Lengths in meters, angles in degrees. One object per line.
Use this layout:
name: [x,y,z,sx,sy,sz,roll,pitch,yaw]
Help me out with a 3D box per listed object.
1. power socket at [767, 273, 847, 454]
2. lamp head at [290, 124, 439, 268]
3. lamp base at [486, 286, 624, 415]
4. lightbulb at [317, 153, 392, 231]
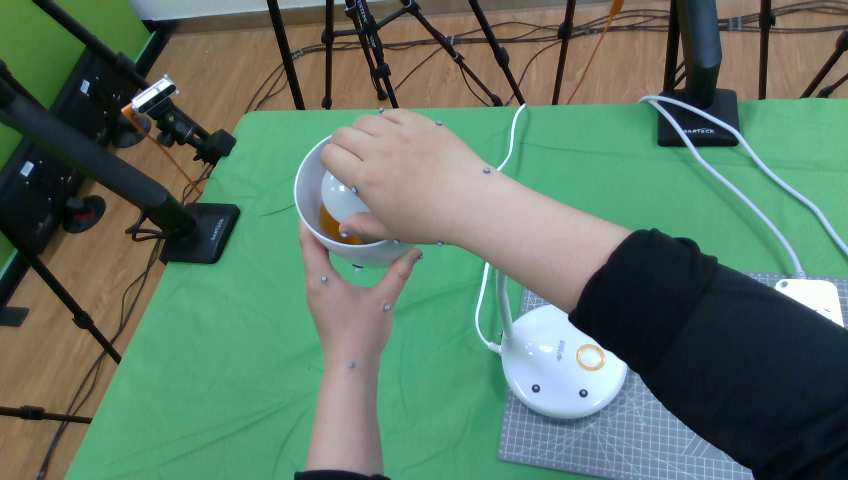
power socket: [0.462,0.138,0.726,0.072,0.033,0.225,3,57,16]
lamp head: [-0.044,-0.024,0.535,0.112,0.124,0.111,-4,66,9]
lamp base: [0.149,0.111,0.740,0.178,0.182,0.159,-3,56,17]
lightbulb: [-0.053,-0.033,0.507,0.059,0.108,0.059,-2,73,6]
